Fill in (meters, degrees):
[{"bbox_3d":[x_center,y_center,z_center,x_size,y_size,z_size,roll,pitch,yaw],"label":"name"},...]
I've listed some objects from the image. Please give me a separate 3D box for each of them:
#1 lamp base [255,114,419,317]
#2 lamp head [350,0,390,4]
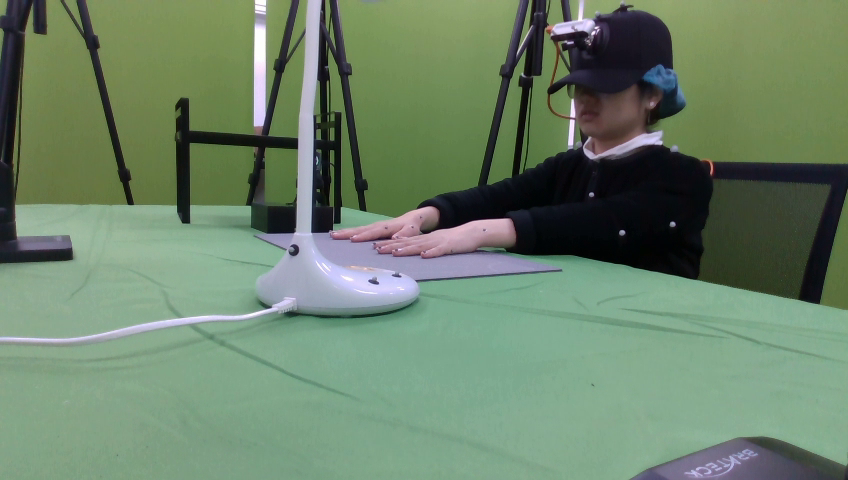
[{"bbox_3d":[-0.086,-0.027,0.577,0.160,0.180,0.179,4,10,16],"label":"lamp base"},{"bbox_3d":[-0.053,-0.313,0.597,0.112,0.112,0.123,6,-28,25],"label":"lamp head"}]
